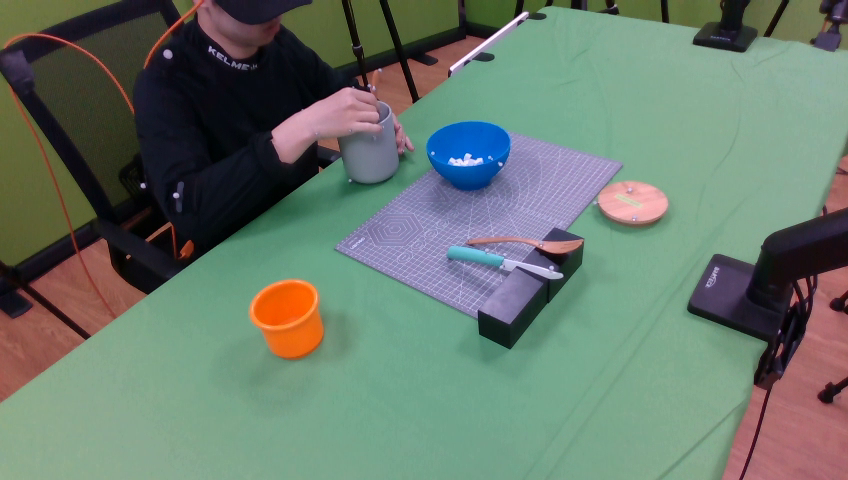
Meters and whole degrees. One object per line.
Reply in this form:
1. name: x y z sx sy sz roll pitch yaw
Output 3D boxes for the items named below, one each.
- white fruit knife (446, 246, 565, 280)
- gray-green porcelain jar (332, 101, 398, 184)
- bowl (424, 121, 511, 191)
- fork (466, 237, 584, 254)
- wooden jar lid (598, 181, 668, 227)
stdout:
1. white fruit knife: 0.111 0.033 0.868 0.205 0.027 0.016 11 44 40
2. gray-green porcelain jar: -0.104 -0.174 1.109 0.106 0.127 0.105 -4 40 4
3. bowl: 0.081 -0.141 1.074 0.151 0.077 0.150 -4 41 4
4. fork: 0.142 0.005 0.894 0.205 0.019 0.028 4 43 41
5. wooden jar lid: 0.340 -0.057 0.989 0.108 0.021 0.108 -5 41 5
